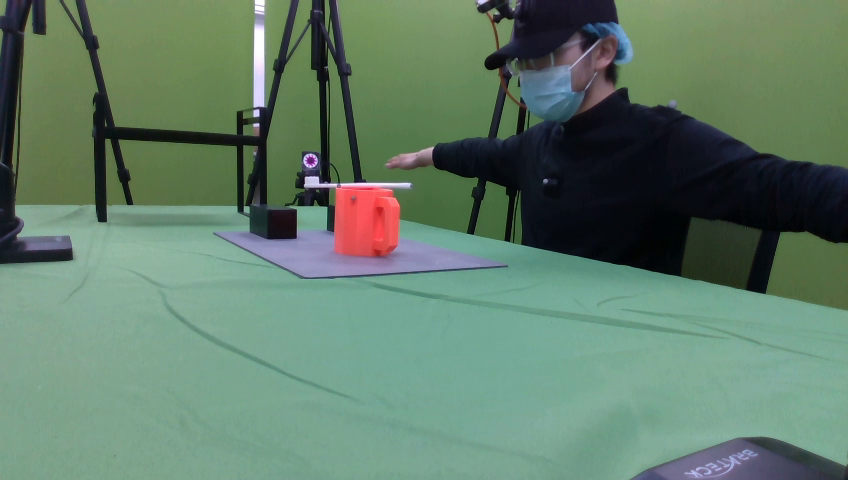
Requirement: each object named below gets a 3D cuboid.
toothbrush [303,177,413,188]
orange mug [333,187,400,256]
[{"bbox_3d":[-0.097,-0.086,0.920,0.183,0.016,0.014,-2,-3,-32],"label":"toothbrush"},{"bbox_3d":[-0.080,-0.029,0.888,0.084,0.100,0.125,-3,5,-40],"label":"orange mug"}]
